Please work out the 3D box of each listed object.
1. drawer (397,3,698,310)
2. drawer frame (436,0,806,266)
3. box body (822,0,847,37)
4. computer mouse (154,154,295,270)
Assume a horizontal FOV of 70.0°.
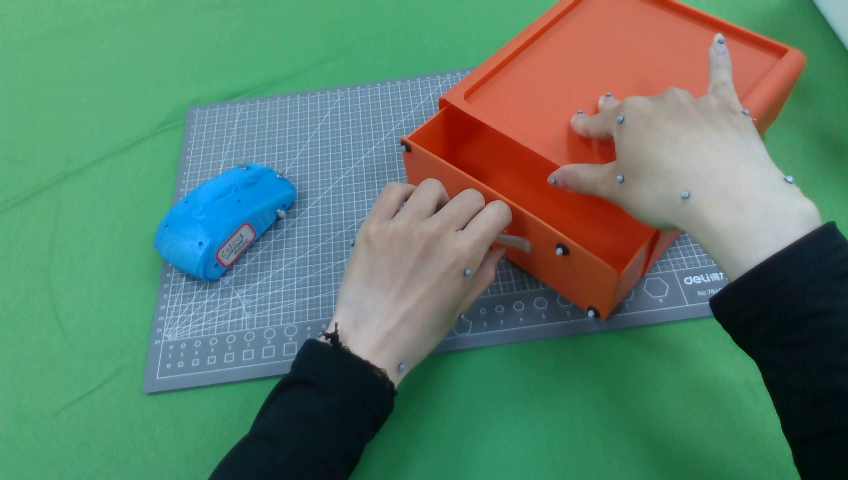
[{"bbox_3d":[0.121,-0.081,0.480,0.193,0.074,0.211,36,67,26],"label":"drawer"},{"bbox_3d":[0.154,-0.114,0.496,0.200,0.083,0.213,36,66,25],"label":"drawer frame"},{"bbox_3d":[0.507,-0.193,0.466,0.254,0.162,0.360,-7,57,2],"label":"box body"},{"bbox_3d":[-0.165,-0.030,0.501,0.062,0.041,0.117,28,60,24],"label":"computer mouse"}]
